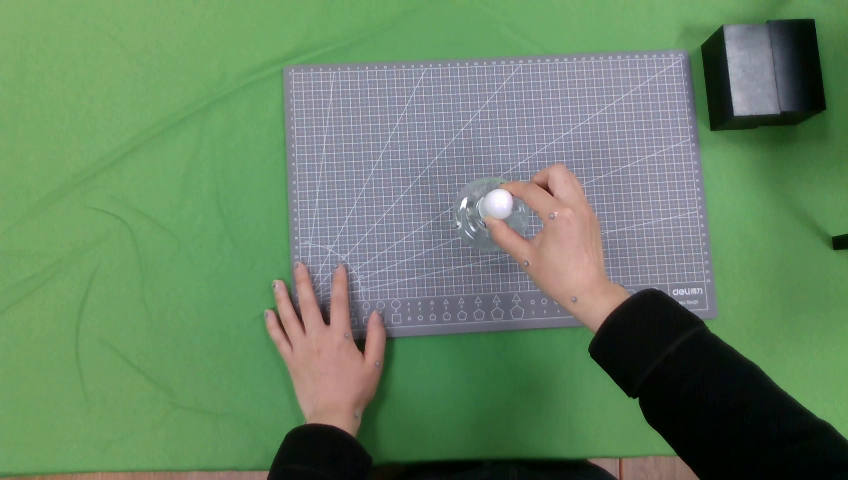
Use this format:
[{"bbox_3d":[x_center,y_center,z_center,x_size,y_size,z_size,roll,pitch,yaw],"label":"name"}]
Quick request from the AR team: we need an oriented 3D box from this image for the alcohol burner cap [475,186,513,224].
[{"bbox_3d":[0.067,-0.035,0.559,0.034,0.048,0.034,0,84,-4],"label":"alcohol burner cap"}]

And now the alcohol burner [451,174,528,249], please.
[{"bbox_3d":[0.066,-0.030,0.595,0.078,0.119,0.077,0,85,-1],"label":"alcohol burner"}]
